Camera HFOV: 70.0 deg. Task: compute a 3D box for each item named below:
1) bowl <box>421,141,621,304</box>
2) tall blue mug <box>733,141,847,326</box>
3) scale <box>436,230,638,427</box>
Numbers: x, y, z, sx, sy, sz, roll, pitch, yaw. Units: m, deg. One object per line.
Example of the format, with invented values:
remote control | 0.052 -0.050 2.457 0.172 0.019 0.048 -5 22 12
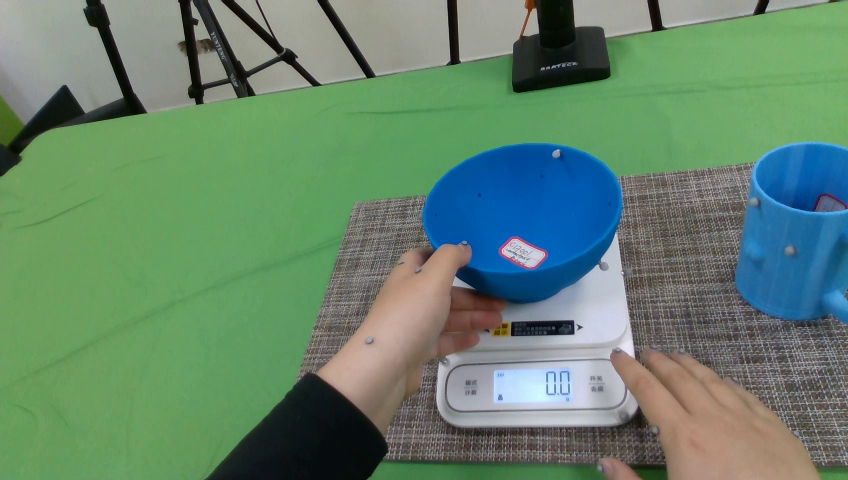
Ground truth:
bowl | 0.079 -0.003 0.481 0.151 0.077 0.150 -9 43 8
tall blue mug | 0.282 0.001 0.428 0.077 0.109 0.106 -40 46 -23
scale | 0.089 0.056 0.497 0.148 0.032 0.199 -5 45 15
